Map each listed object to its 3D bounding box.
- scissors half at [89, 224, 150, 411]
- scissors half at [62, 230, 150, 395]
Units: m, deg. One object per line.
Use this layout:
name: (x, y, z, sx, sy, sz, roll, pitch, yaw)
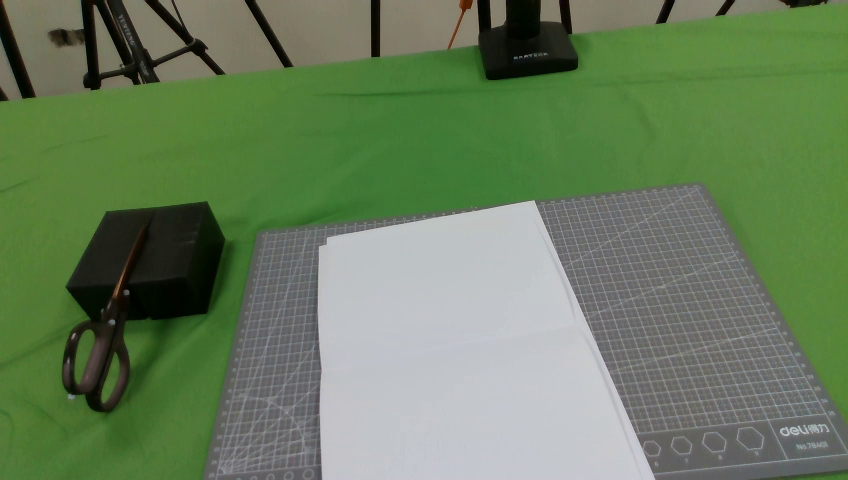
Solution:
scissors half: (-0.252, 0.059, 0.517, 0.013, 0.040, 0.173, -10, 60, 11)
scissors half: (-0.256, 0.047, 0.501, 0.013, 0.040, 0.173, -7, 43, 7)
